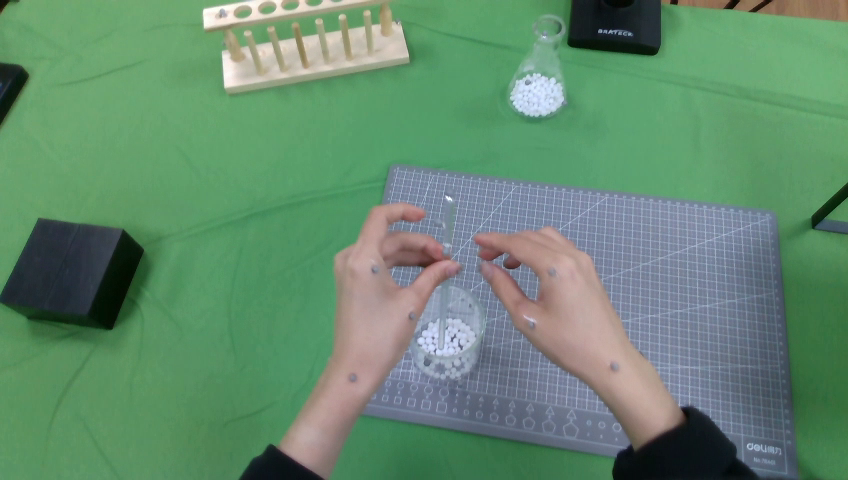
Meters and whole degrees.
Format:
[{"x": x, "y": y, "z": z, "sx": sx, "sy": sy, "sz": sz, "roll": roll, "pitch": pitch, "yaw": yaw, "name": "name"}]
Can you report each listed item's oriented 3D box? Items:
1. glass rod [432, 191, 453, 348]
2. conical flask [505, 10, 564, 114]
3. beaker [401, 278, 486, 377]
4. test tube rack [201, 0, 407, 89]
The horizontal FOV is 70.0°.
[{"x": 0.013, "y": 0.033, "z": 0.486, "sx": 0.008, "sy": 0.201, "sz": 0.008, "roll": 1, "pitch": 49, "yaw": -1, "name": "glass rod"}, {"x": 0.138, "y": -0.215, "z": 0.723, "sx": 0.075, "sy": 0.123, "sz": 0.074, "roll": -1, "pitch": 64, "yaw": 2, "name": "conical flask"}, {"x": 0.017, "y": 0.089, "z": 0.591, "sx": 0.083, "sy": 0.101, "sz": 0.074, "roll": 27, "pitch": 68, "yaw": 15, "name": "beaker"}, {"x": -0.149, "y": -0.267, "z": 0.776, "sx": 0.242, "sy": 0.086, "sz": 0.066, "roll": -11, "pitch": 65, "yaw": -4, "name": "test tube rack"}]
